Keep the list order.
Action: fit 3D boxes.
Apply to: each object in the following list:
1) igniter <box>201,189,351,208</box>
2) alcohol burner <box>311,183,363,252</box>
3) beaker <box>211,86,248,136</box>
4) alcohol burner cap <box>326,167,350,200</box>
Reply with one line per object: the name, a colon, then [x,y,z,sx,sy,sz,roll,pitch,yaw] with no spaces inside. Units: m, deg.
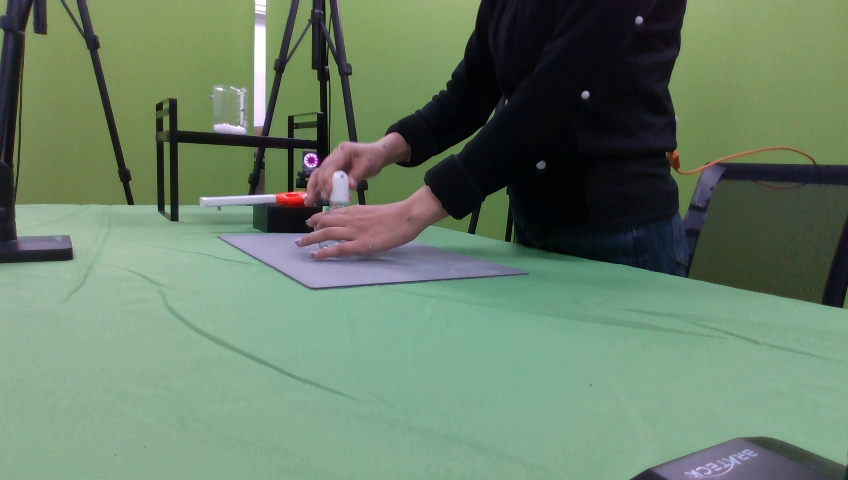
igniter: [-0.272,-0.078,1.139,0.278,0.025,0.057,-5,11,-28]
alcohol burner: [-0.130,-0.042,0.905,0.078,0.119,0.078,2,7,0]
beaker: [-0.414,-0.274,1.297,0.074,0.100,0.083,-5,11,-44]
alcohol burner cap: [-0.126,-0.085,0.902,0.034,0.048,0.034,13,11,-2]
